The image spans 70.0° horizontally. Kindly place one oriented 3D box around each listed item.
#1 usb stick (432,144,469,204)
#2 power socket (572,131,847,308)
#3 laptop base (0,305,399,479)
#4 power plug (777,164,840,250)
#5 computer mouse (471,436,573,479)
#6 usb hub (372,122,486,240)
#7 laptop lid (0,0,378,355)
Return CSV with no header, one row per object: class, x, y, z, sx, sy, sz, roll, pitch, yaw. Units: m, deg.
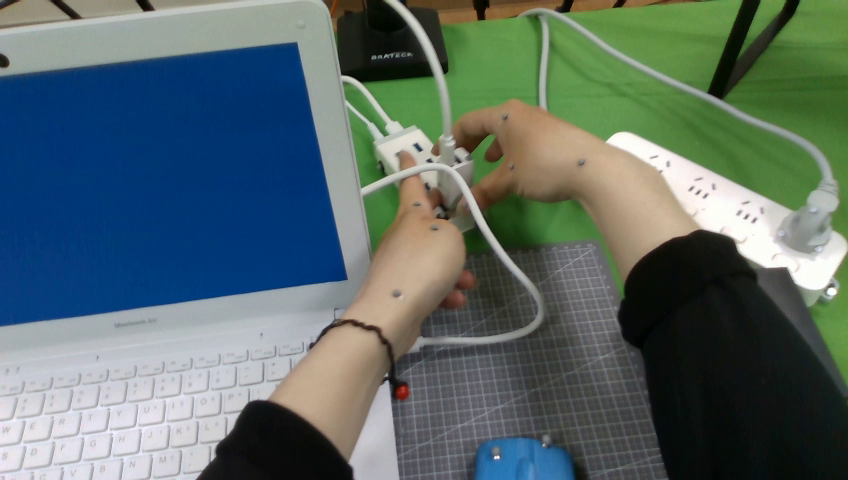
usb stick,0.022,-0.051,0.503,0.027,0.059,0.021,-34,67,-16
power socket,0.235,-0.024,0.511,0.225,0.033,0.072,34,60,26
laptop base,-0.192,0.166,0.386,0.355,0.023,0.233,-8,55,-4
power plug,0.309,-0.018,0.475,0.072,0.053,0.035,-33,56,-20
computer mouse,0.057,0.170,0.357,0.063,0.041,0.116,3,47,8
usb hub,0.002,-0.056,0.549,0.049,0.025,0.124,-26,55,-17
laptop lid,-0.217,-0.019,0.383,0.357,0.244,0.013,-9,39,-3
